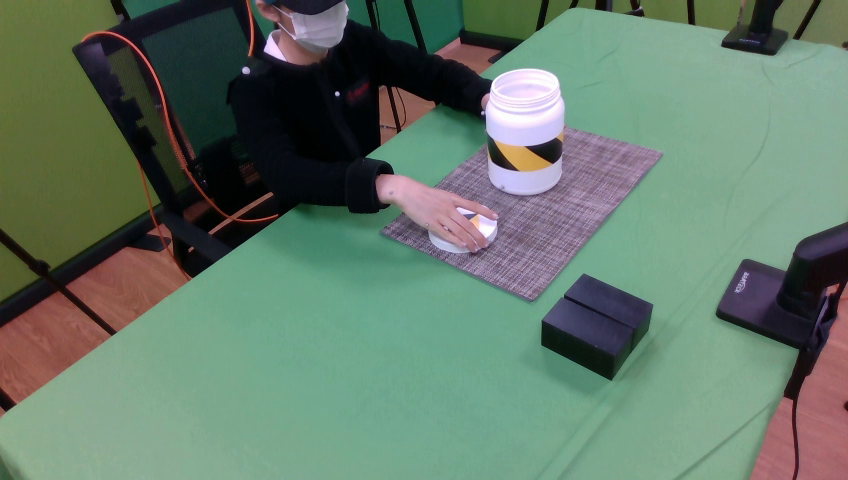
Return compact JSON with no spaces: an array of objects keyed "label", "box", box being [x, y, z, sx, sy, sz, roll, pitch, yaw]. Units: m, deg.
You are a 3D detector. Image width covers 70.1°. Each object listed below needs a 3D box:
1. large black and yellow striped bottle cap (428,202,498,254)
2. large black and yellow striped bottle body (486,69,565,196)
[{"label":"large black and yellow striped bottle cap","box":[0.064,-0.022,0.991,0.115,0.019,0.114,-4,41,4]},{"label":"large black and yellow striped bottle body","box":[0.173,-0.183,1.033,0.131,0.185,0.130,-5,40,4]}]
